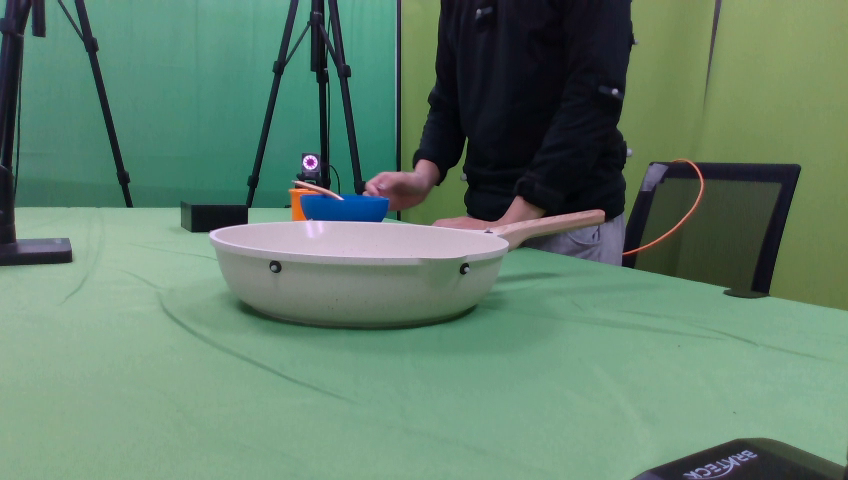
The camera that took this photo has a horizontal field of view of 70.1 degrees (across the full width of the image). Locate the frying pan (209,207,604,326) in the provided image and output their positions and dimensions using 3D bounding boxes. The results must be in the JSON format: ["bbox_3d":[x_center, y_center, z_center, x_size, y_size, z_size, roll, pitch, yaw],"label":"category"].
[{"bbox_3d":[0.026,0.005,0.665,0.490,0.102,0.305,-12,14,-30],"label":"frying pan"}]

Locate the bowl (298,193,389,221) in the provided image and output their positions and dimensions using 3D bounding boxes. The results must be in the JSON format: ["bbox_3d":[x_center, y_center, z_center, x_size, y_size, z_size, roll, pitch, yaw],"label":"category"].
[{"bbox_3d":[-0.136,-0.037,1.018,0.151,0.077,0.151,2,7,0],"label":"bowl"}]

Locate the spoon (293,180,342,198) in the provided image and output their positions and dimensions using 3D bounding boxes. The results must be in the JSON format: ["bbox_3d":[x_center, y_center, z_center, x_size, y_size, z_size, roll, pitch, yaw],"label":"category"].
[{"bbox_3d":[-0.157,-0.075,1.056,0.193,0.021,0.042,27,25,27],"label":"spoon"}]
